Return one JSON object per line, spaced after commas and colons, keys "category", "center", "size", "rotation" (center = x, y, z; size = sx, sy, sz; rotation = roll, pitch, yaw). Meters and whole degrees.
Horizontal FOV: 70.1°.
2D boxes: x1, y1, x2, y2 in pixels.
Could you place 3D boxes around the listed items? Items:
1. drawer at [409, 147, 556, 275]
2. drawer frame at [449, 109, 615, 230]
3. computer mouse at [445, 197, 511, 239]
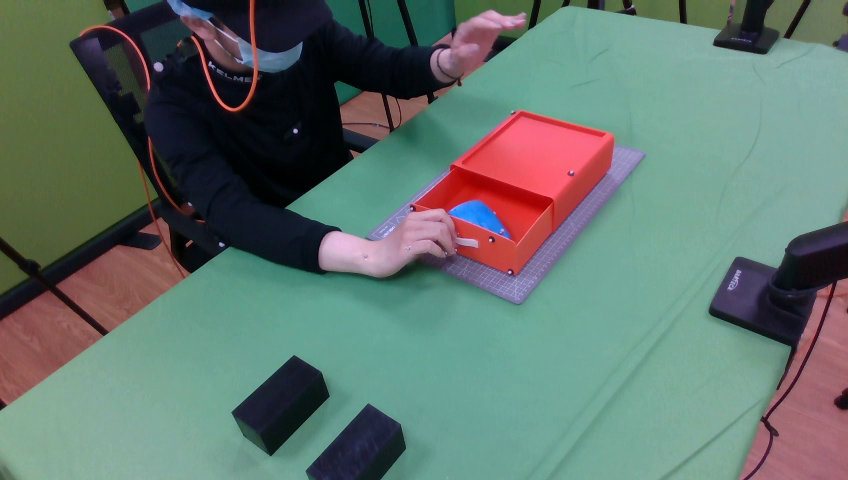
{"category": "drawer", "center": [0.117, -0.060, 0.973], "size": [0.193, 0.073, 0.212], "rotation": [22, 49, 31]}
{"category": "drawer frame", "center": [0.185, -0.126, 1.037], "size": [0.200, 0.083, 0.214], "rotation": [22, 48, 31]}
{"category": "computer mouse", "center": [0.085, -0.028, 0.955], "size": [0.063, 0.041, 0.116], "rotation": [-18, 49, -23]}
